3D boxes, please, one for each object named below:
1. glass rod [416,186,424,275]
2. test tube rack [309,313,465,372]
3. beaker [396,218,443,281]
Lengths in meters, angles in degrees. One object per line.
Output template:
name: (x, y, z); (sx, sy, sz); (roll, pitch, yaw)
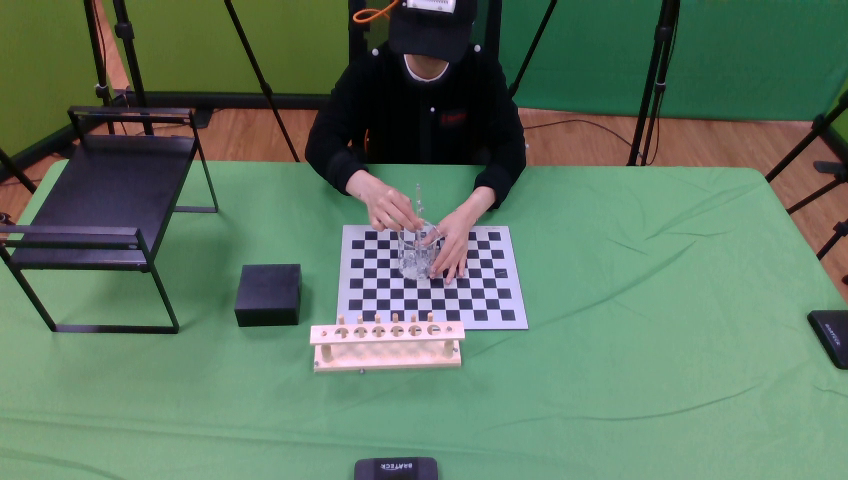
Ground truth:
glass rod: (-0.007, -0.012, 1.071); (0.008, 0.201, 0.008); (-1, 39, 1)
test tube rack: (-0.059, 0.161, 0.990); (0.242, 0.085, 0.066); (-1, 46, -5)
beaker: (-0.010, 0.020, 1.115); (0.084, 0.101, 0.073); (2, 46, -3)
